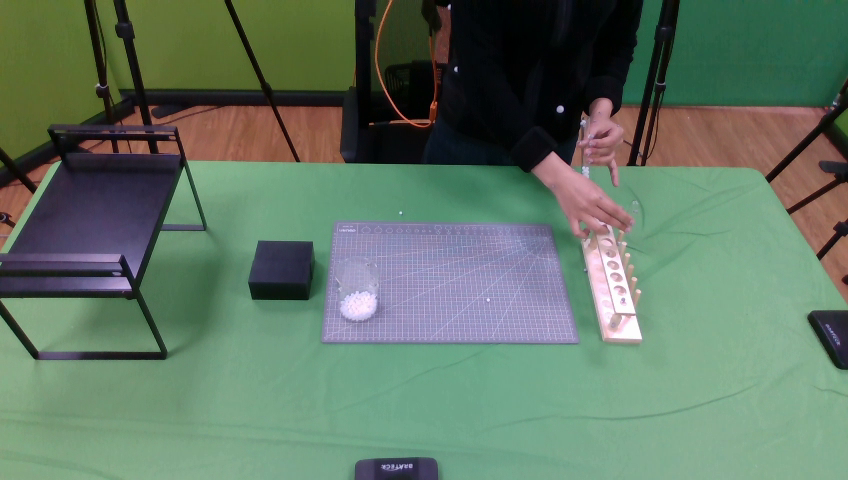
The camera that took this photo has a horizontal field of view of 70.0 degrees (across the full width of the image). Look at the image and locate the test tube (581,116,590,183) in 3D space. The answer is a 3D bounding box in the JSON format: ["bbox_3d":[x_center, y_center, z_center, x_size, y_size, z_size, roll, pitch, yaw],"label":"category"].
[{"bbox_3d":[0.303,-0.168,1.140,0.017,0.151,0.017,-8,44,8],"label":"test tube"}]

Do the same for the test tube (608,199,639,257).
[{"bbox_3d":[0.374,-0.020,1.140,0.017,0.151,0.017,2,47,-2],"label":"test tube"}]

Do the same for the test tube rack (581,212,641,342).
[{"bbox_3d":[0.351,0.063,1.121,0.067,0.085,0.241,3,46,-1],"label":"test tube rack"}]

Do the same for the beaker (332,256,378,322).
[{"bbox_3d":[-0.114,0.089,1.047,0.083,0.101,0.074,30,52,21],"label":"beaker"}]
